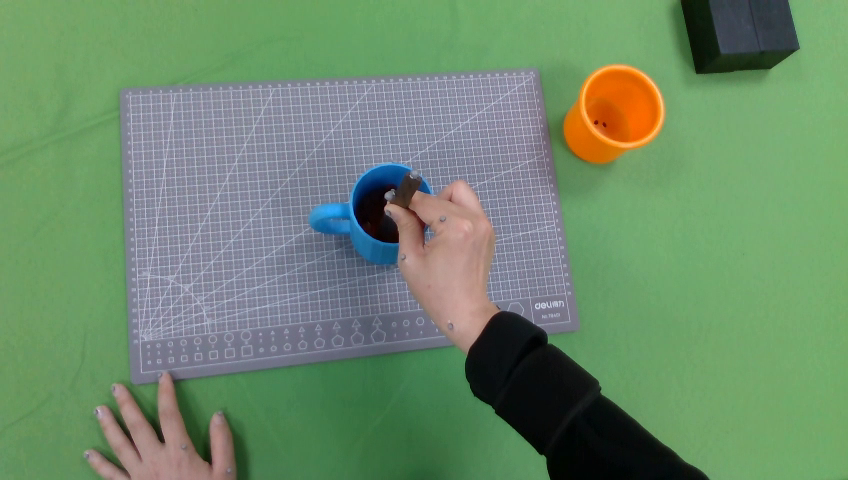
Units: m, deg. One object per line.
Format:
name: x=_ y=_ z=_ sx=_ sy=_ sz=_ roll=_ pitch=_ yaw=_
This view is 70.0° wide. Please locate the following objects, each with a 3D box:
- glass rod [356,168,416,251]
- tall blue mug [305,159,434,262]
glass rod: x=-0.036 y=-0.020 z=0.515 sx=0.008 sy=0.200 sz=0.008 roll=5 pitch=72 yaw=-16
tall blue mug: x=-0.050 y=-0.018 z=0.580 sx=0.107 sy=0.108 sz=0.077 roll=-29 pitch=85 yaw=-12
